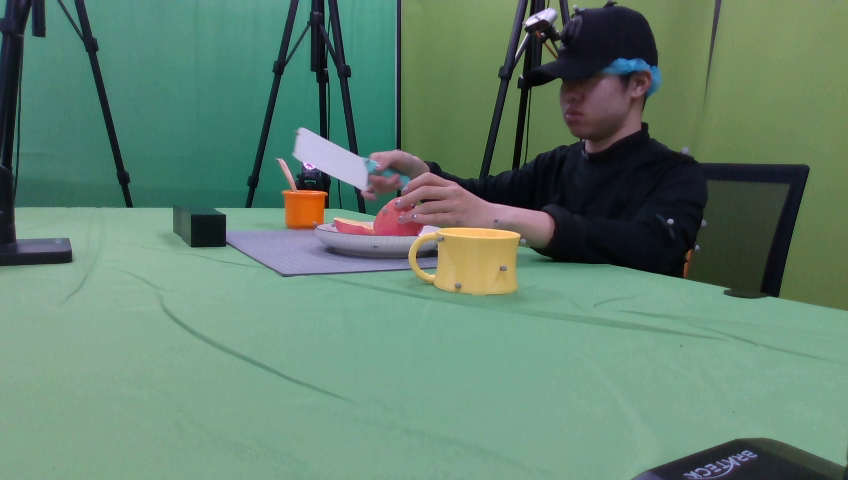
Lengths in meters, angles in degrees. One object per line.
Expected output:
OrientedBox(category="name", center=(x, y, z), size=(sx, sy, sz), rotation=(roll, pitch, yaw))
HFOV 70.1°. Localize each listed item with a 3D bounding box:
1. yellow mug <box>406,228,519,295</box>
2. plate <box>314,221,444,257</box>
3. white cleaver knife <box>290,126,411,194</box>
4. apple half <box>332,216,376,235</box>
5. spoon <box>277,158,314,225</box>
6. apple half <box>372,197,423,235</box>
OrientedBox(category="yellow mug", center=(0.044, 0.022, 0.707), size=(0.131, 0.064, 0.100), rotation=(2, 7, 5))
OrientedBox(category="plate", center=(-0.066, -0.002, 0.948), size=(0.209, 0.038, 0.209), rotation=(3, 7, 0))
OrientedBox(category="white cleaver knife", center=(-0.122, -0.123, 1.060), size=(0.021, 0.066, 0.288), rotation=(-8, -18, 39))
OrientedBox(category="apple half", center=(-0.110, -0.012, 0.972), size=(0.081, 0.033, 0.081), rotation=(16, 7, -2))
OrientedBox(category="spoon", center=(-0.272, -0.103, 1.260), size=(0.042, 0.193, 0.021), rotation=(-5, -34, -33))
OrientedBox(category="apple half", center=(-0.036, -0.021, 0.928), size=(0.053, 0.074, 0.081), rotation=(51, 6, 22))
